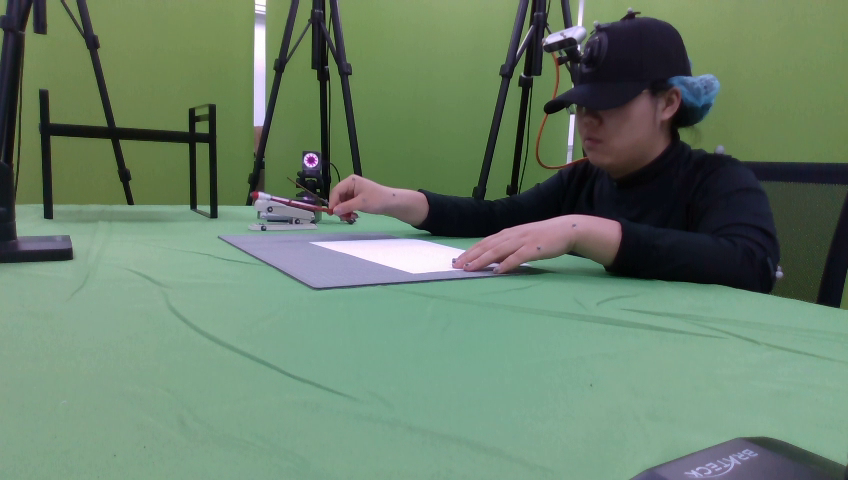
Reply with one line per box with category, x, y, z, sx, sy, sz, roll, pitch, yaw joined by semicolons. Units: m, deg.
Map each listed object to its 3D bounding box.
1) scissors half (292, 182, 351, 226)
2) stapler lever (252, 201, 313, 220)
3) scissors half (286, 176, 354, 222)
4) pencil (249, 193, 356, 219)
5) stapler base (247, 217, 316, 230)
scissors half;-0.232;-0.085;1.317;0.175;0.013;0.040;38;20;4
stapler lever;-0.273;-0.058;1.170;0.119;0.040;0.026;0;10;-37
scissors half;-0.229;-0.091;1.337;0.175;0.013;0.040;33;15;-13
pencil;-0.202;-0.055;1.031;0.195;0.012;0.012;12;2;-33
stapler base;-0.276;-0.033;1.172;0.131;0.024;0.041;0;10;-37
